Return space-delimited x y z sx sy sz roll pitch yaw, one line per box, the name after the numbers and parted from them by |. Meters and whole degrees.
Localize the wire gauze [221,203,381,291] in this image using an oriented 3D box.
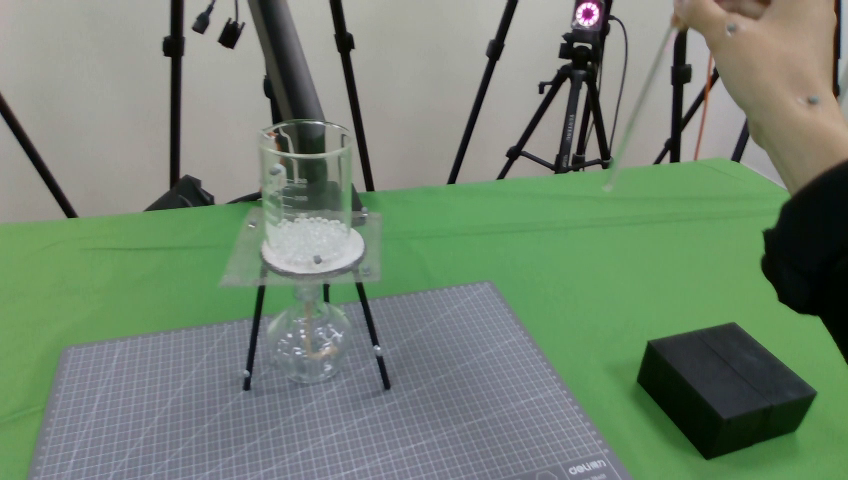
-0.097 0.002 0.514 0.121 0.011 0.124 0 34 -4 | wire gauze

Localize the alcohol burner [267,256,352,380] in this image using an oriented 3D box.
-0.105 0.067 0.551 0.078 0.120 0.077 1 30 0 | alcohol burner

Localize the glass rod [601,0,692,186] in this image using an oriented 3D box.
0.159 -0.125 0.402 0.008 0.201 0.008 13 28 -7 | glass rod

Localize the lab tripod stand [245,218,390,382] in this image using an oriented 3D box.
-0.093 0.057 0.549 0.148 0.132 0.147 4 31 -2 | lab tripod stand

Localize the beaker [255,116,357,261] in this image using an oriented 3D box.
-0.097 -0.041 0.490 0.083 0.101 0.074 21 35 24 | beaker
